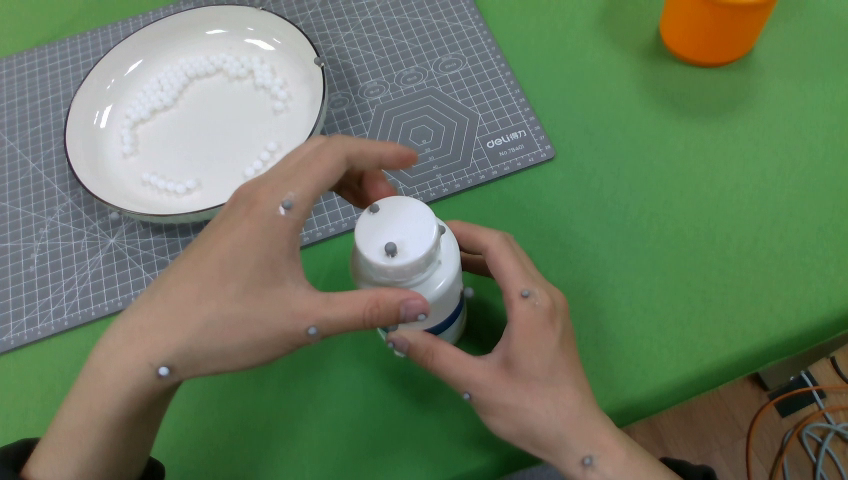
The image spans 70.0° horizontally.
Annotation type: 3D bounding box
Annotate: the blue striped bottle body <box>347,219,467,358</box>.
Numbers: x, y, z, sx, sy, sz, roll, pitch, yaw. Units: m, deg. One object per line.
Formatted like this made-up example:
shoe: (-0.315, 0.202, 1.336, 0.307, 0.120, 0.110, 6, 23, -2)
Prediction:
blue striped bottle body: (-0.008, 0.025, 0.363, 0.063, 0.122, 0.062, -3, 63, 6)

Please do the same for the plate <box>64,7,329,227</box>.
plate: (-0.175, -0.098, 0.485, 0.207, 0.039, 0.206, -2, 63, 5)

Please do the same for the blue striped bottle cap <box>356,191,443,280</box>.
blue striped bottle cap: (-0.013, -0.003, 0.313, 0.044, 0.021, 0.044, -2, 64, 5)
